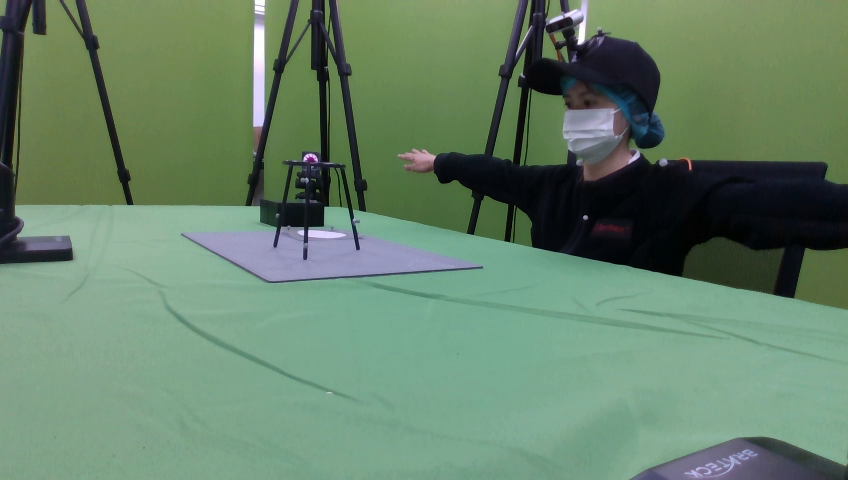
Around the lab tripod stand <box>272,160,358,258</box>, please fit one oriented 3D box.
[{"bbox_3d":[-0.159,-0.048,0.876,0.148,0.131,0.148,3,5,0],"label":"lab tripod stand"}]

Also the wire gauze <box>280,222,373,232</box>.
[{"bbox_3d":[-0.173,-0.025,1.072,0.121,0.011,0.126,6,2,38],"label":"wire gauze"}]
